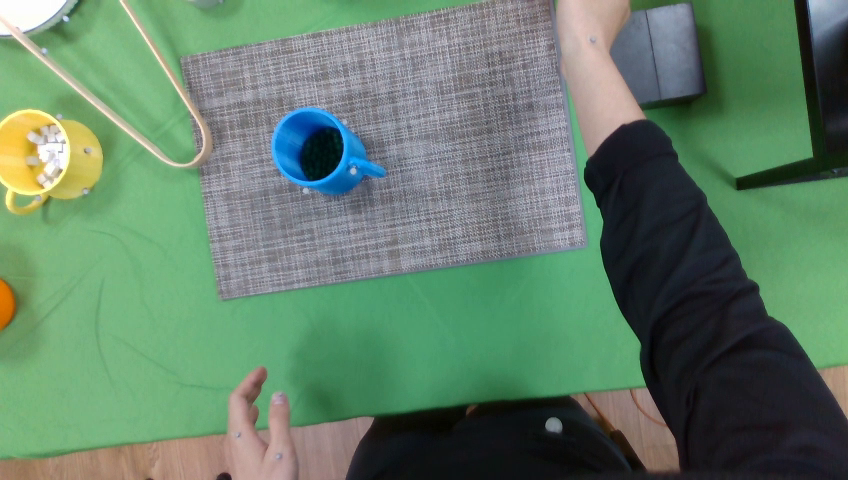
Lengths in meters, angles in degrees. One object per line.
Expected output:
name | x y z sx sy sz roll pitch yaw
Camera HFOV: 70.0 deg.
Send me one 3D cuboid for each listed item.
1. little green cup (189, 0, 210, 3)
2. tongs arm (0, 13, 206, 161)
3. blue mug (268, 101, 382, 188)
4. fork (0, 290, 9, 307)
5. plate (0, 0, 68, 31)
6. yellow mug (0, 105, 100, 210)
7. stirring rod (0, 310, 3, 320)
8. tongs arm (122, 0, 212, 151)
little green cup | -0.275 -0.316 0.724 0.061 0.038 0.061 0 92 4
tongs arm | -0.425 -0.220 0.718 0.385 0.026 0.051 43 90 -5
blue mug | -0.103 -0.098 0.680 0.116 0.106 0.082 17 92 4
fork | -0.607 0.068 0.701 0.209 0.018 0.028 4 90 -39
plate | -0.508 -0.357 0.740 0.207 0.039 0.207 0 92 4
yellow mug | -0.465 -0.093 0.729 0.100 0.064 0.131 30 94 3
stirring rod | -0.597 0.085 0.703 0.006 0.177 0.014 -18 71 47
tongs arm | -0.362 -0.277 0.715 0.028 0.027 0.388 -33 96 -4
